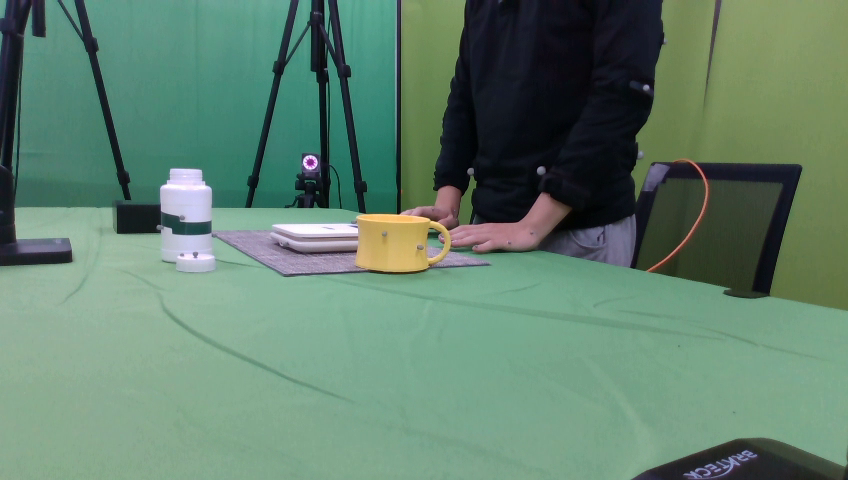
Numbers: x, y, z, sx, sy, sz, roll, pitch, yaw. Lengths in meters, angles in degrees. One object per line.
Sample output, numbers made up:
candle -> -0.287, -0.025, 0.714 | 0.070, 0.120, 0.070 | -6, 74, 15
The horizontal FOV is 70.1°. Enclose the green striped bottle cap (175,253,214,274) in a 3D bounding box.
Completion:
green striped bottle cap -> -0.280, 0.029, 0.740 | 0.044, 0.020, 0.044 | 7, 3, 0

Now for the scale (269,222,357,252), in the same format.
scale -> -0.132, -0.007, 0.965 | 0.202, 0.031, 0.148 | -2, 8, -31

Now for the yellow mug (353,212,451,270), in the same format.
yellow mug -> -0.027, 0.000, 0.807 | 0.131, 0.064, 0.099 | 2, 8, -13

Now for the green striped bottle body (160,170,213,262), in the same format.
green striped bottle body -> -0.312, -0.033, 0.797 | 0.063, 0.119, 0.063 | 2, 7, 0
